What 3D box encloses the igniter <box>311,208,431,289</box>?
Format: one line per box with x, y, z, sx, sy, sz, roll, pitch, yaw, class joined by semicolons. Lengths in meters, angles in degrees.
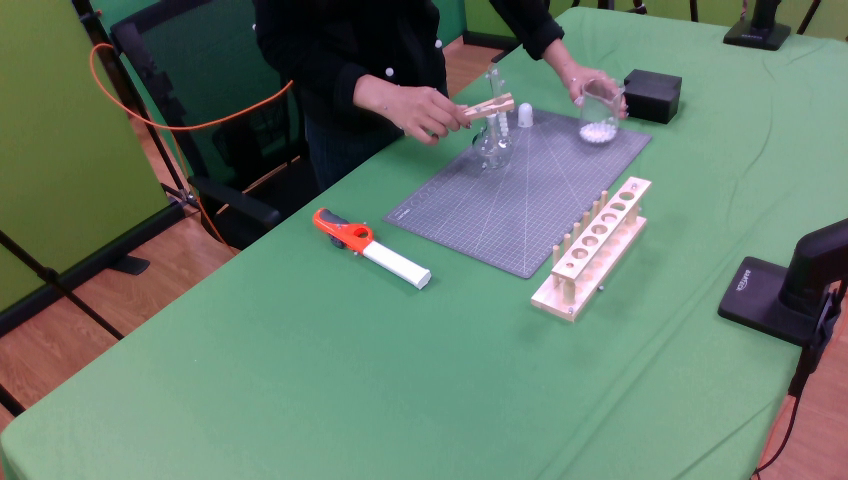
-0.096;0.008;0.985;0.274;0.025;0.057;28;62;36;igniter

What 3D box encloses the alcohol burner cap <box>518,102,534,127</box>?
0.205;-0.255;1.223;0.034;0.048;0.033;-6;41;6;alcohol burner cap

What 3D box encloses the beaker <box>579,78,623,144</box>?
0.323;-0.233;1.109;0.074;0.101;0.083;-9;42;-1;beaker

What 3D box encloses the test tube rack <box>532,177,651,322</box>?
0.248;0.003;0.883;0.066;0.085;0.243;22;49;32;test tube rack

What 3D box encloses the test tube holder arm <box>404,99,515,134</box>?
0.055;-0.195;0.954;0.178;0.015;0.013;-14;54;6;test tube holder arm

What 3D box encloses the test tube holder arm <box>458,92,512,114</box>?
0.097;-0.211;0.954;0.088;0.015;0.010;-20;54;1;test tube holder arm

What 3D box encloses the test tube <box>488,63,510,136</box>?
0.119;-0.216;0.947;0.017;0.151;0.017;-7;56;12;test tube

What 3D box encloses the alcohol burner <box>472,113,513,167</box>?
0.126;-0.194;1.111;0.078;0.119;0.077;-5;42;5;alcohol burner
